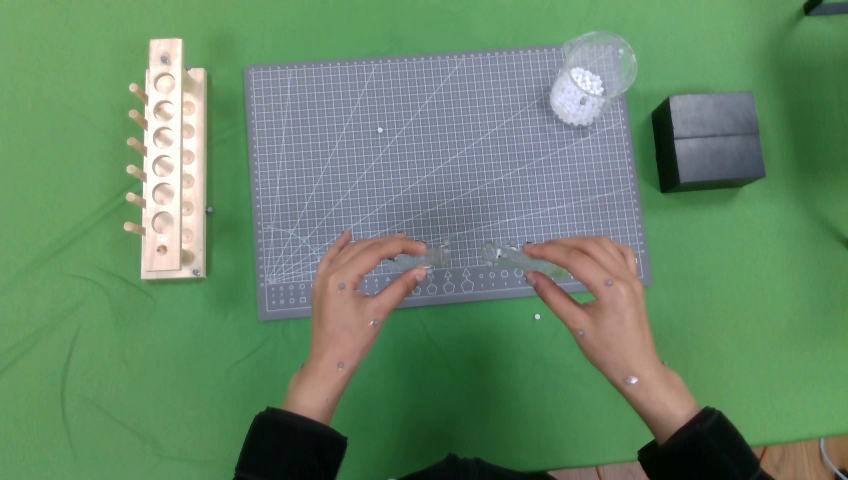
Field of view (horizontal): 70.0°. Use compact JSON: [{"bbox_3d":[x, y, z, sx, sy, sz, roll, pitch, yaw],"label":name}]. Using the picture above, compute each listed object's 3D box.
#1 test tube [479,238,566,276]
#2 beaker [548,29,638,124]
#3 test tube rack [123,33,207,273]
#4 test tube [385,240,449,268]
[{"bbox_3d":[0.089,0.016,0.521,0.017,0.151,0.017,-7,78,33],"label":"test tube"},{"bbox_3d":[0.181,-0.180,0.679,0.084,0.100,0.074,32,81,4],"label":"beaker"},{"bbox_3d":[-0.281,-0.089,0.652,0.067,0.085,0.241,-2,82,-3],"label":"test tube rack"},{"bbox_3d":[-0.010,0.015,0.553,0.017,0.150,0.017,2,84,-18],"label":"test tube"}]
